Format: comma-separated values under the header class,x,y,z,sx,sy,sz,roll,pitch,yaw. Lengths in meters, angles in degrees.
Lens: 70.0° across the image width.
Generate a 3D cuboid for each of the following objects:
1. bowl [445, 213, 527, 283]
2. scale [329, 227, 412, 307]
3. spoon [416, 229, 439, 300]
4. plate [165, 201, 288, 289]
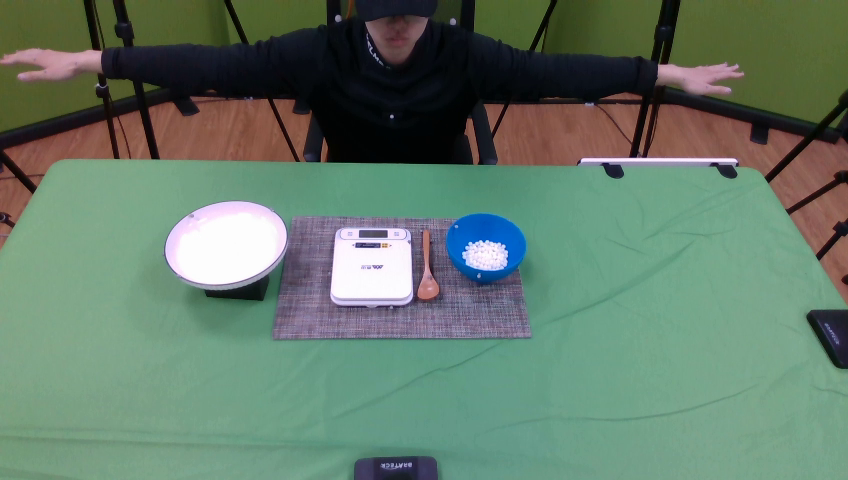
class,x,y,z,sx,sy,sz,roll,pitch,yaw
bowl,0.112,0.027,1.136,0.151,0.077,0.150,2,46,-2
scale,-0.099,0.042,1.139,0.149,0.032,0.199,1,46,-4
spoon,0.005,0.043,1.152,0.041,0.022,0.192,-9,46,8
plate,-0.347,0.011,1.082,0.209,0.038,0.208,2,46,-2
